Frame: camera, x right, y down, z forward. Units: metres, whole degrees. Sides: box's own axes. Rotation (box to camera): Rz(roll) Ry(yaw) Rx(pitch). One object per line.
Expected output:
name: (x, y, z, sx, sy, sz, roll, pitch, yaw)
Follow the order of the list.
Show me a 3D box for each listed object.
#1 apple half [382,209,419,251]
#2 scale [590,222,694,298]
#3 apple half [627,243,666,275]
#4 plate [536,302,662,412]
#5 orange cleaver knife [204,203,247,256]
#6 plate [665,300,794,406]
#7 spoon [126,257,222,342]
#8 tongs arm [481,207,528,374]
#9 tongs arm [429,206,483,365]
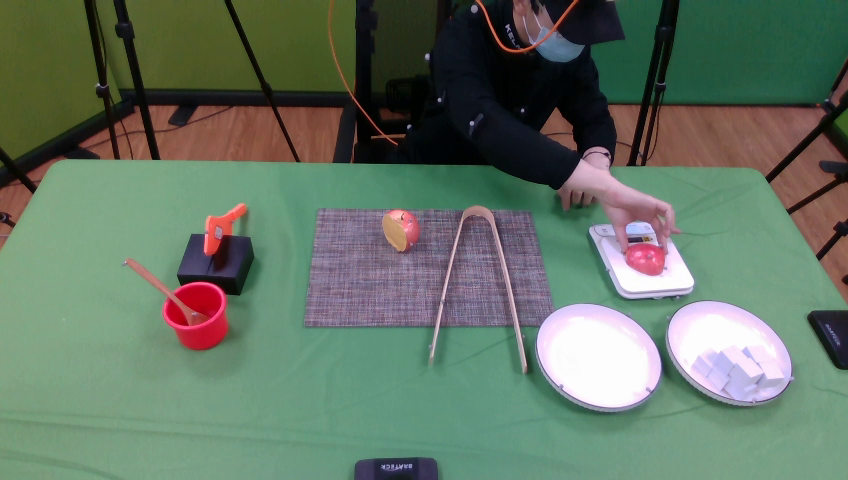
apple half: (-0.039, -0.022, 1.175, 0.053, 0.075, 0.080, -27, 50, -31)
scale: (0.424, 0.031, 1.189, 0.149, 0.032, 0.199, -3, 46, -7)
apple half: (0.426, 0.027, 1.151, 0.081, 0.033, 0.081, 3, 47, -3)
plate: (0.288, 0.197, 1.016, 0.209, 0.038, 0.208, 2, 46, -2)
orange cleaver knife: (-0.374, -0.024, 1.146, 0.012, 0.077, 0.211, 4, 14, 1)
plate: (0.513, 0.194, 1.033, 0.208, 0.039, 0.206, 2, 46, -2)
spoon: (-0.408, 0.096, 0.990, 0.194, 0.021, 0.041, 50, 54, -18)
tongs arm: (0.149, 0.077, 1.124, 0.028, 0.028, 0.385, -5, 46, -2)
tongs arm: (0.064, 0.069, 1.124, 0.051, 0.026, 0.382, 8, 46, 5)
